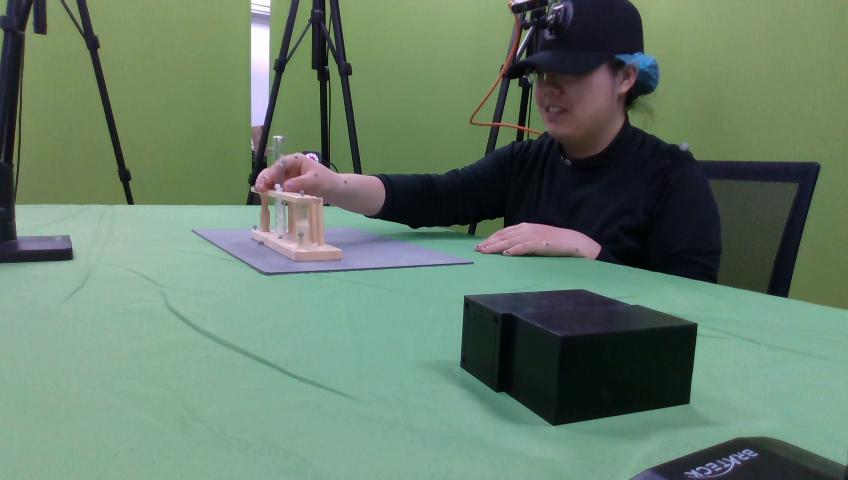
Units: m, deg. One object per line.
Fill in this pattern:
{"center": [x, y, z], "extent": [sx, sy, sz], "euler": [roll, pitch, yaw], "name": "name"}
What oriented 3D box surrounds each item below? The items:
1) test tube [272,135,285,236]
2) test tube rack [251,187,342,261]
{"center": [-0.215, -0.080, 0.899], "extent": [0.017, 0.150, 0.017], "euler": [0, 8, 0], "name": "test tube"}
{"center": [-0.196, -0.030, 0.902], "extent": [0.067, 0.085, 0.241], "euler": [-2, 8, -29], "name": "test tube rack"}
